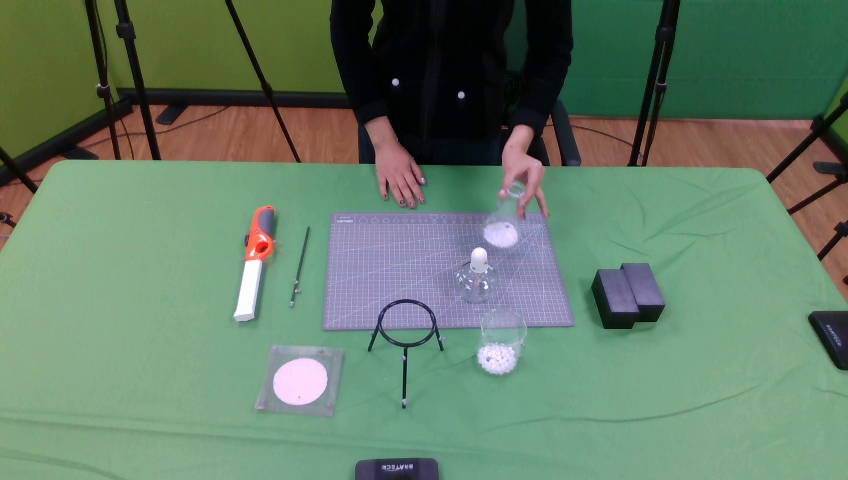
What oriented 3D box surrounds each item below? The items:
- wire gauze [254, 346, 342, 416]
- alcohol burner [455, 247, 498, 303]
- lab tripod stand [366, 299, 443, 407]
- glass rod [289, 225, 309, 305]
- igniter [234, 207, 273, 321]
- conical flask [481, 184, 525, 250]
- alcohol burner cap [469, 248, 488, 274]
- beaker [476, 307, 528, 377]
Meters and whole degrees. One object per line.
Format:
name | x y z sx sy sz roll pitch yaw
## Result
wire gauze | -0.201 0.223 0.978 0.125 0.011 0.121 4 45 1
alcohol burner | 0.095 0.057 1.084 0.078 0.120 0.077 1 47 -1
lab tripod stand | -0.028 0.165 0.961 0.148 0.132 0.147 3 44 -2
glass rod | -0.235 0.043 1.149 0.008 0.008 0.198 3 46 -1
igniter | -0.318 0.035 1.137 0.057 0.025 0.274 -7 46 3
conical flask | 0.152 -0.046 1.116 0.075 0.122 0.075 7 44 -6
alcohol burner cap | 0.095 0.034 1.057 0.034 0.048 0.033 -3 52 3
beaker | 0.122 0.171 0.991 0.084 0.101 0.073 -34 56 -30
